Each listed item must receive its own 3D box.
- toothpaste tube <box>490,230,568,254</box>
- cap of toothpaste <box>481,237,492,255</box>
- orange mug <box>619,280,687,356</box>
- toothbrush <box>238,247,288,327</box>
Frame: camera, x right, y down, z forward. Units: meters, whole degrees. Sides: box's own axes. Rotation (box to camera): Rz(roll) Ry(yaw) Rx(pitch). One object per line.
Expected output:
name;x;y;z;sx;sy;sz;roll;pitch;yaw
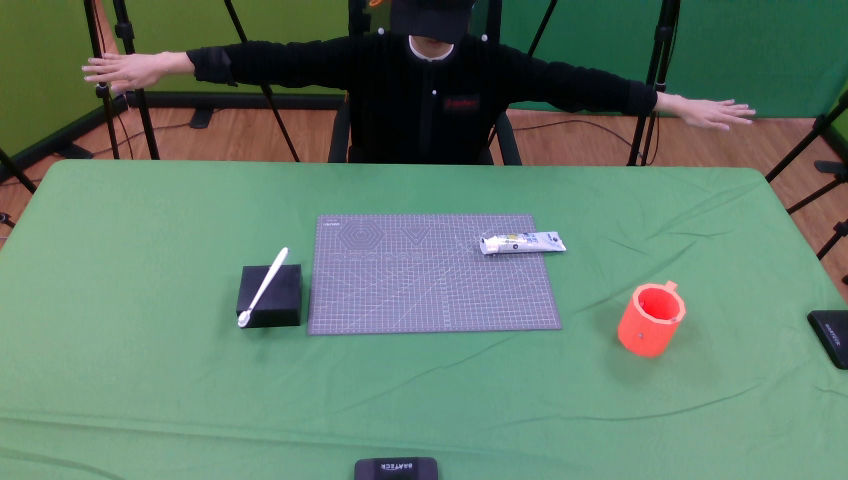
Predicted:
toothpaste tube;0.201;0.006;1.195;0.165;0.034;0.054;-5;51;-14
cap of toothpaste;0.122;0.011;1.176;0.011;0.037;0.037;-15;49;-16
orange mug;0.401;0.125;1.045;0.083;0.101;0.126;30;56;24
toothbrush;-0.274;0.075;1.040;0.014;0.017;0.181;11;46;10
